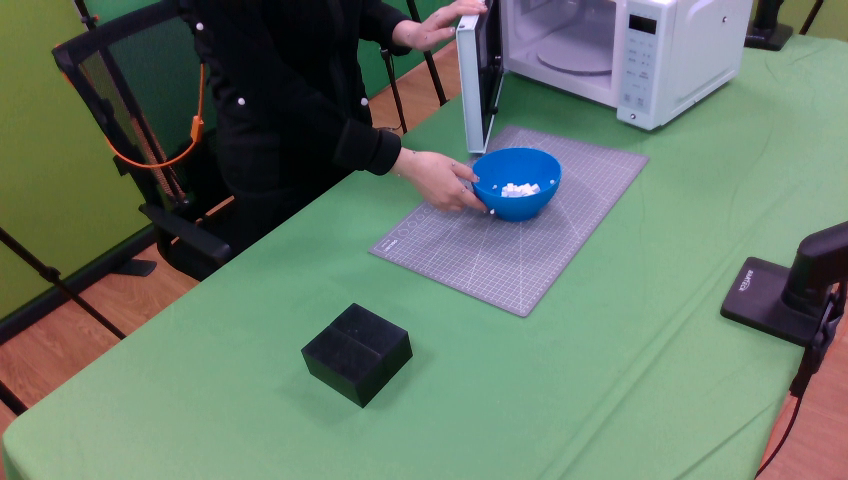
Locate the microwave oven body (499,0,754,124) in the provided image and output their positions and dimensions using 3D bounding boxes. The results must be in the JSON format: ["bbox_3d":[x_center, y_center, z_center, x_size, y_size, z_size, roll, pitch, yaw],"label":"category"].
[{"bbox_3d":[0.402,-0.458,1.259,0.327,0.261,0.437,-33,45,-24],"label":"microwave oven body"}]

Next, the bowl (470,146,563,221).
[{"bbox_3d":[0.155,-0.084,1.008,0.151,0.077,0.150,-5,39,5],"label":"bowl"}]

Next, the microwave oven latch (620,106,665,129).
[{"bbox_3d":[0.412,-0.237,1.146,0.030,0.029,0.078,-32,44,-23],"label":"microwave oven latch"}]

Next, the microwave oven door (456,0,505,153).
[{"bbox_3d":[0.120,-0.373,1.206,0.039,0.245,0.355,2,41,14],"label":"microwave oven door"}]
